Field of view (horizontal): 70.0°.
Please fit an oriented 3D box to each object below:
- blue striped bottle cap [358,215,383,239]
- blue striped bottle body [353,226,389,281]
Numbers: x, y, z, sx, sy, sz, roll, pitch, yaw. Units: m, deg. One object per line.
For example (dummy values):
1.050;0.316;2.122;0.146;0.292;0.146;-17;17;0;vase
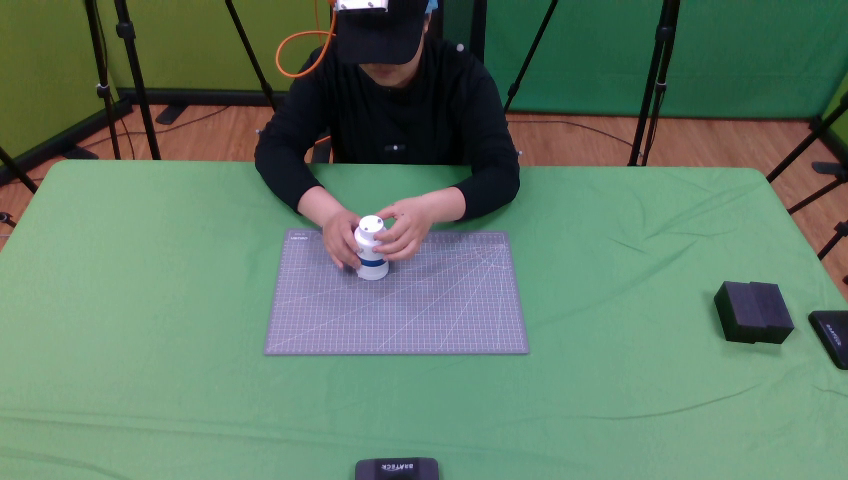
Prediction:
-0.095;-0.023;1.070;0.044;0.021;0.044;3;48;-4;blue striped bottle cap
-0.097;0.013;1.106;0.063;0.121;0.062;0;44;0;blue striped bottle body
